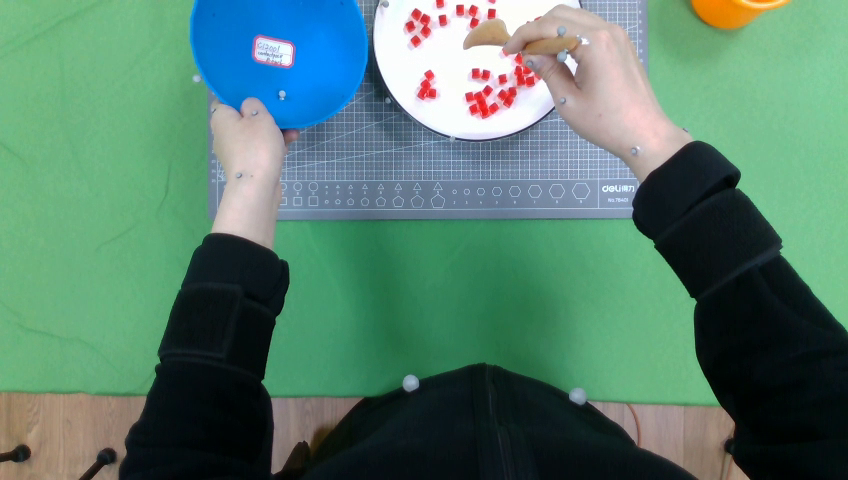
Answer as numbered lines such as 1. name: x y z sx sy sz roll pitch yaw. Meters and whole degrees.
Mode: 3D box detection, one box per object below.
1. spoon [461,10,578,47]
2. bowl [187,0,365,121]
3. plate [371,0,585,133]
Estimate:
1. spoon: 0.072 -0.162 0.472 0.041 0.192 0.022 -34 119 -2
2. bowl: -0.135 -0.183 0.555 0.152 0.076 0.151 -3 98 -18
3. plate: 0.052 -0.208 0.602 0.209 0.038 0.209 0 90 1
